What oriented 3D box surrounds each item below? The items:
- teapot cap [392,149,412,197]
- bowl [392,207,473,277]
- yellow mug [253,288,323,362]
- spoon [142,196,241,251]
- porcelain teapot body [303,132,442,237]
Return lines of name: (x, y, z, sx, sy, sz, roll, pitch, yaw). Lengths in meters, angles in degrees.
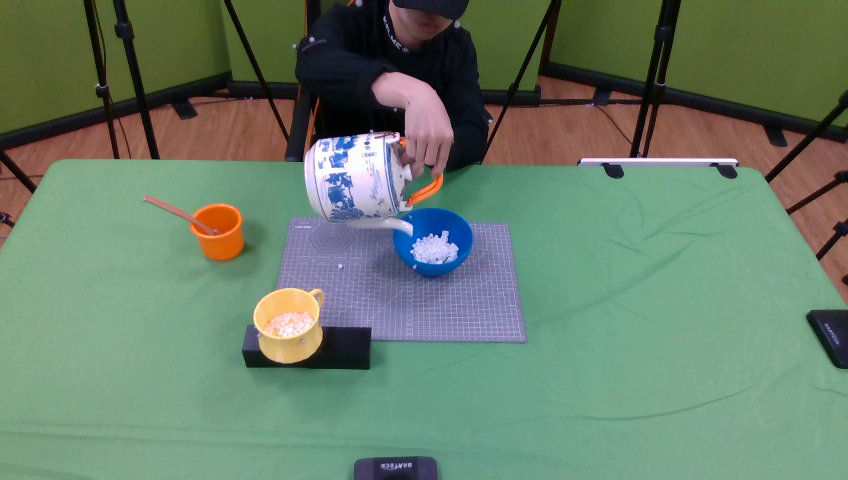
teapot cap: (-0.042, -0.115, 1.038, 0.044, 0.085, 0.084, -6, 46, 2)
bowl: (0.014, 0.016, 1.140, 0.151, 0.077, 0.150, 2, 47, -2)
yellow mug: (-0.205, 0.124, 0.963, 0.099, 0.064, 0.130, 27, 48, 21)
spoon: (-0.421, -0.032, 1.108, 0.021, 0.195, 0.041, -32, 39, 27)
porcelain teapot body: (-0.078, -0.088, 1.059, 0.225, 0.206, 0.144, -7, 36, 5)
